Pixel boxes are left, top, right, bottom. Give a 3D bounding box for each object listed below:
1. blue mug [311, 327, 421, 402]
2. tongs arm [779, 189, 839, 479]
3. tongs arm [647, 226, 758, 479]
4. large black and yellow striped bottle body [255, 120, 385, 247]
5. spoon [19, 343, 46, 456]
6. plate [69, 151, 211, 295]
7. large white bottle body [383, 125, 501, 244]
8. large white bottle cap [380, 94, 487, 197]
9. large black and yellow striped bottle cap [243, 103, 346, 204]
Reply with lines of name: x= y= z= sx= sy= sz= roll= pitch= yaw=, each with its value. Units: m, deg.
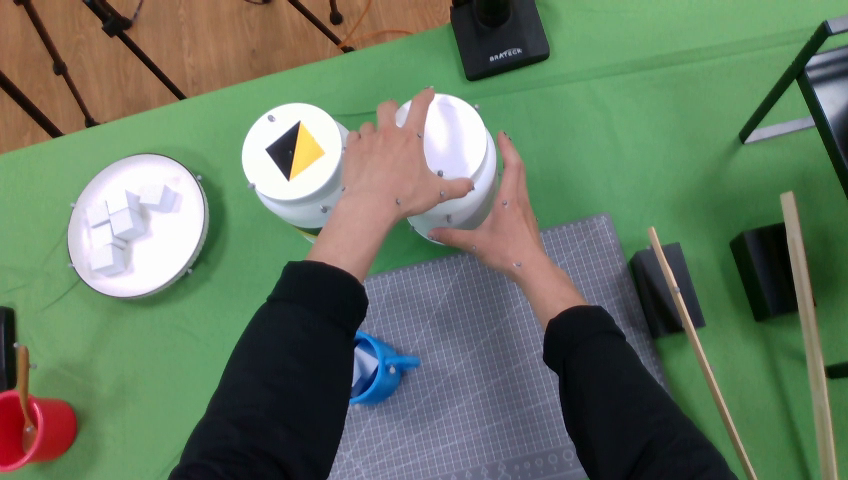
blue mug: x=-0.062 y=0.149 z=0.720 sx=0.116 sy=0.106 sz=0.082 roll=-8 pitch=74 yaw=7
tongs arm: x=0.413 y=0.138 z=0.654 sx=0.028 sy=0.028 sz=0.386 roll=-5 pitch=86 yaw=-1
tongs arm: x=0.334 y=0.158 z=0.658 sx=0.051 sy=0.026 sz=0.384 roll=-19 pitch=86 yaw=1
large black and yellow striped bottle body: x=-0.130 y=-0.073 z=0.749 sx=0.130 sy=0.185 sz=0.130 roll=-2 pitch=75 yaw=9
spoon: x=-0.494 y=0.203 z=0.757 sx=0.041 sy=0.021 sz=0.195 roll=31 pitch=126 yaw=19
plate: x=-0.395 y=-0.023 z=0.854 sx=0.207 sy=0.039 sz=0.206 roll=-2 pitch=76 yaw=8
large white bottle body: x=0.024 y=-0.079 z=0.726 sx=0.130 sy=0.186 sz=0.130 roll=-2 pitch=75 yaw=8
large white bottle cap: x=0.011 y=-0.102 z=0.646 sx=0.114 sy=0.018 sz=0.114 roll=-2 pitch=75 yaw=8
large black and yellow striped bottle cap: x=-0.144 y=-0.097 z=0.669 sx=0.115 sy=0.019 sz=0.114 roll=-2 pitch=76 yaw=8
